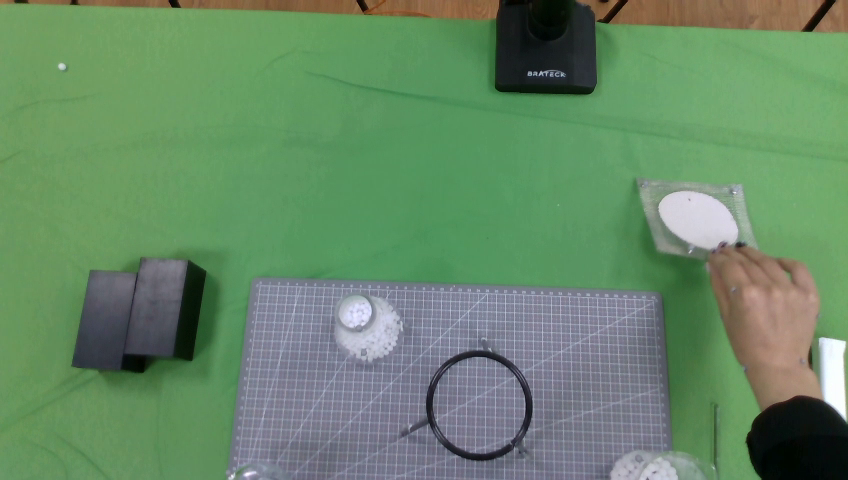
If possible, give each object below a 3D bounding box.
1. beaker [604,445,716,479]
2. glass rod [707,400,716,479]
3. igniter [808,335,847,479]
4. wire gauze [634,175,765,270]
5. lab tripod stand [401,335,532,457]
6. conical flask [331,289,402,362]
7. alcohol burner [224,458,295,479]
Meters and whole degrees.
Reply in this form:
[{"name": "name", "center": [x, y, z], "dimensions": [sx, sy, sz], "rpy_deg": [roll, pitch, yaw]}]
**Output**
[{"name": "beaker", "center": [0.217, 0.228, 0.565], "dimensions": [0.084, 0.101, 0.073], "rpy_deg": [-34, 76, -9]}, {"name": "glass rod", "center": [0.289, 0.261, 0.605], "dimensions": [0.008, 0.008, 0.198], "rpy_deg": [6, 74, 2]}, {"name": "igniter", "center": [0.403, 0.232, 0.602], "dimensions": [0.057, 0.025, 0.275], "rpy_deg": [11, 75, -8]}, {"name": "wire gauze", "center": [0.298, -0.025, 0.661], "dimensions": [0.125, 0.011, 0.120], "rpy_deg": [8, 50, -2]}, {"name": "lab tripod stand", "center": [0.044, 0.155, 0.568], "dimensions": [0.148, 0.132, 0.147], "rpy_deg": [0, 76, 1]}, {"name": "conical flask", "center": [-0.062, 0.078, 0.596], "dimensions": [0.075, 0.122, 0.075], "rpy_deg": [0, 74, 1]}, {"name": "alcohol burner", "center": [-0.158, 0.242, 0.556], "dimensions": [0.078, 0.120, 0.077], "rpy_deg": [-1, 73, 3]}]
